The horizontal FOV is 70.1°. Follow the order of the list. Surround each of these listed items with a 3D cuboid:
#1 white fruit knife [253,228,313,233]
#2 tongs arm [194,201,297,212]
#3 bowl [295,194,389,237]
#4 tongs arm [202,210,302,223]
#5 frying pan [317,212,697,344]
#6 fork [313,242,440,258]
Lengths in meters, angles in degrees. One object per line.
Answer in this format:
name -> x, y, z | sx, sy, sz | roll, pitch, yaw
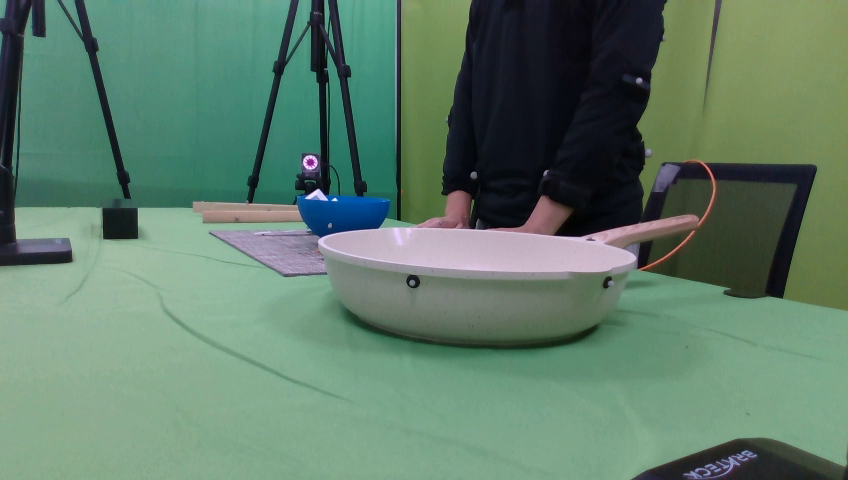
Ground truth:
white fruit knife -> -0.206, -0.019, 1.102 | 0.208, 0.016, 0.027 | -3, -2, -29
tongs arm -> -0.335, -0.072, 1.424 | 0.387, 0.026, 0.050 | 0, 9, -24
bowl -> -0.133, -0.032, 0.980 | 0.151, 0.077, 0.151 | 2, 7, 0
tongs arm -> -0.298, -0.057, 1.354 | 0.390, 0.028, 0.028 | -3, 7, -36
frying pan -> 0.133, 0.013, 0.629 | 0.490, 0.102, 0.305 | -12, 14, -31
fork -> -0.063, 0.013, 0.878 | 0.208, 0.018, 0.028 | -5, 0, -34
